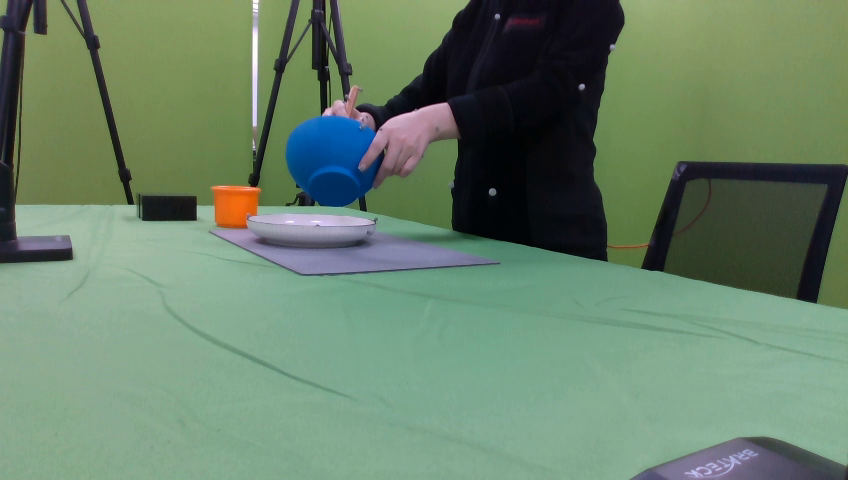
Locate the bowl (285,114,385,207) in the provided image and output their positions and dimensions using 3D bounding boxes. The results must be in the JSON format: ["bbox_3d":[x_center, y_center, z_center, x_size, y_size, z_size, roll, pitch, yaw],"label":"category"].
[{"bbox_3d":[-0.133,-0.102,0.893,0.152,0.151,0.076,1,50,-6],"label":"bowl"}]

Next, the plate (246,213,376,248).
[{"bbox_3d":[-0.185,-0.017,0.994,0.209,0.038,0.209,3,8,0],"label":"plate"}]

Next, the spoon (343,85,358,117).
[{"bbox_3d":[-0.134,-0.177,0.978,0.041,0.193,0.021,10,-32,2],"label":"spoon"}]
